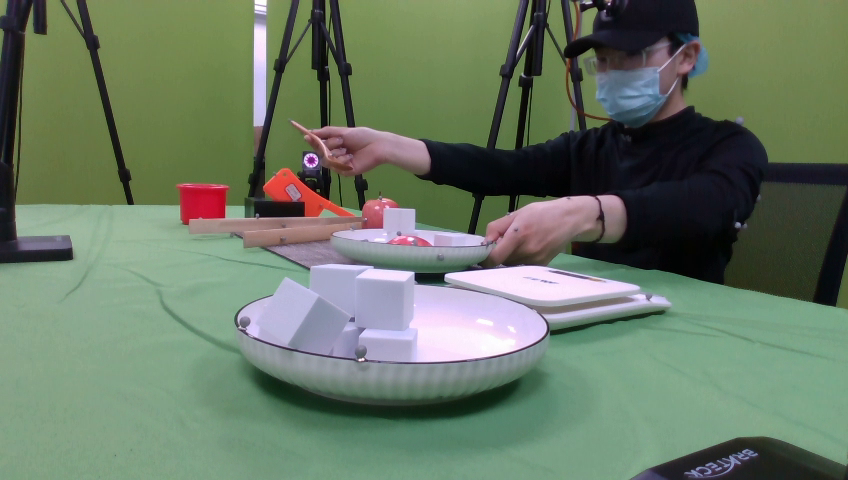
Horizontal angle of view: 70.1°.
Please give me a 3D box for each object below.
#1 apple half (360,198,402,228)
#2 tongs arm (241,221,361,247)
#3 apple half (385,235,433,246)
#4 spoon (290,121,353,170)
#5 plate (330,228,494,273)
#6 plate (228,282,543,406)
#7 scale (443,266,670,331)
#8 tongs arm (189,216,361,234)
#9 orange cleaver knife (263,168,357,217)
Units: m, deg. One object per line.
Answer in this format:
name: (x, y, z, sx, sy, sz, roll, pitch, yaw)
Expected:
apple half: (-0.066, -0.033, 1.014, 0.053, 0.074, 0.081, 9, 6, 21)
tongs arm: (-0.159, -0.017, 1.034, 0.028, 0.028, 0.389, 2, 5, 33)
apple half: (-0.018, 0.009, 0.751, 0.081, 0.033, 0.081, 1, 9, 0)
spoon: (-0.182, -0.167, 1.054, 0.042, 0.021, 0.193, 16, 23, -49)
plate: (-0.016, 0.012, 0.773, 0.209, 0.038, 0.209, 2, 6, 0)
plate: (-0.025, 0.067, 0.413, 0.208, 0.039, 0.207, 2, 7, 0)
scale: (0.131, 0.052, 0.603, 0.202, 0.031, 0.148, -2, 9, -37)
tongs arm: (-0.220, -0.028, 1.088, 0.387, 0.026, 0.050, -3, 8, -43)
orange cleaver knife: (-0.240, -0.078, 1.294, 0.212, 0.077, 0.012, 32, -7, -26)
